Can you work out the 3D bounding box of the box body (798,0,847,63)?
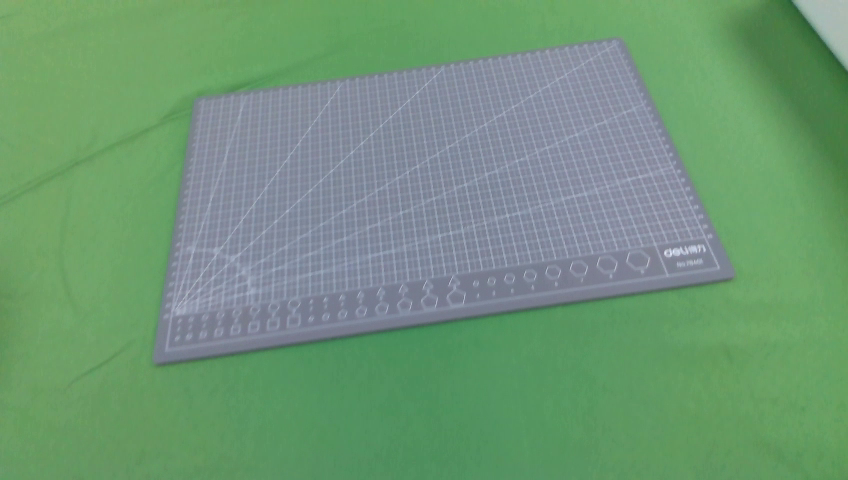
[{"bbox_3d":[0.510,-0.214,0.504,0.254,0.162,0.360,-9,55,-1],"label":"box body"}]
